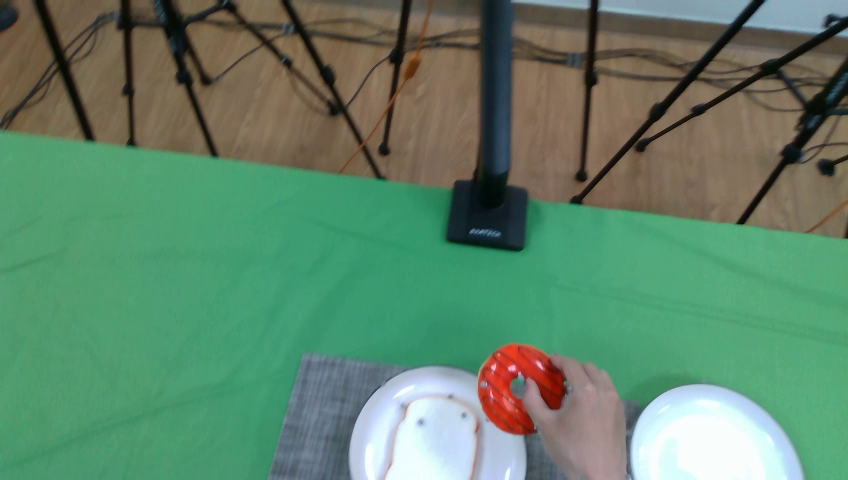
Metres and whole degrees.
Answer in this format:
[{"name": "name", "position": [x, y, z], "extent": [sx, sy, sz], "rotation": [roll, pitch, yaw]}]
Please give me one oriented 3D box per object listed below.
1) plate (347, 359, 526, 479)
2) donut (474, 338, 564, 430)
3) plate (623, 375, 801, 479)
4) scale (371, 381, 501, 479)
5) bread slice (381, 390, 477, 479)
[{"name": "plate", "position": [0.014, 0.245, 0.716], "extent": [0.209, 0.038, 0.207], "rotation": [0, 61, 0]}, {"name": "donut", "position": [0.104, 0.157, 0.664], "extent": [0.099, 0.048, 0.098], "rotation": [1, 74, -3]}, {"name": "plate", "position": [0.346, 0.272, 0.742], "extent": [0.208, 0.039, 0.206], "rotation": [0, 61, 0]}, {"name": "scale", "position": [0.013, 0.277, 0.736], "extent": [0.148, 0.032, 0.199], "rotation": [8, 61, 4]}, {"name": "bread slice", "position": [0.009, 0.244, 0.719], "extent": [0.105, 0.019, 0.130], "rotation": [11, 62, 4]}]
